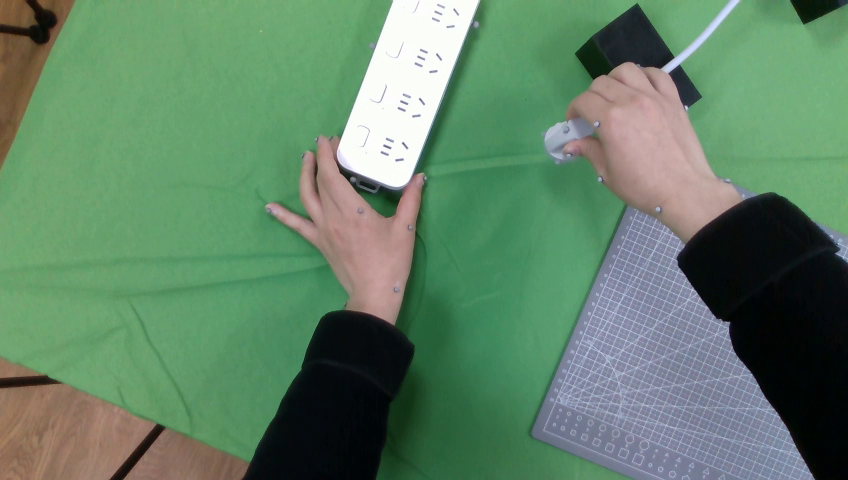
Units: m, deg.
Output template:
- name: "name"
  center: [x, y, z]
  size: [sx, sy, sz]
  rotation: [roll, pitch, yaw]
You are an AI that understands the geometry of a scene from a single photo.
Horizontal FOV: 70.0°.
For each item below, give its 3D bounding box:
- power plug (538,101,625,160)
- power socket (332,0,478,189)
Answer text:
- name: "power plug"
  center: [0.135, -0.090, 0.523]
  size: [0.072, 0.053, 0.035]
  rotation: [-8, 80, 0]
- name: "power socket"
  center: [-0.015, -0.155, 0.546]
  size: [0.072, 0.032, 0.226]
  rotation: [22, 90, -6]
